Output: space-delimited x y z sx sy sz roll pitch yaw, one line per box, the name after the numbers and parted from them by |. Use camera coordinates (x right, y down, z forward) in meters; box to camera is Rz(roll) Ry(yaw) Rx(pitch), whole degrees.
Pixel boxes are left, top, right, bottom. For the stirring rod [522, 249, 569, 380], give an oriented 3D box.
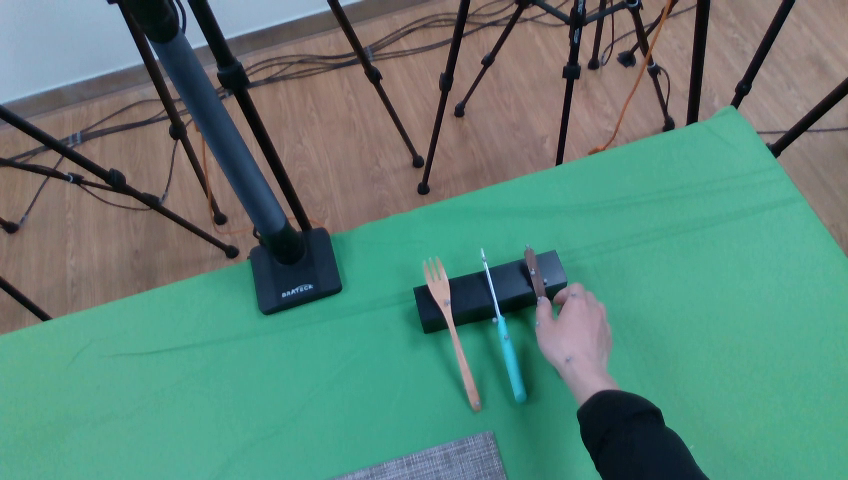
0.158 0.096 0.789 0.014 0.006 0.176 -16 87 5 | stirring rod

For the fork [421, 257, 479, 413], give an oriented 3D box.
0.035 0.122 0.785 0.028 0.019 0.206 -17 81 -6 | fork

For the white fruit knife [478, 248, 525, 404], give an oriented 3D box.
0.096 0.109 0.784 0.016 0.027 0.206 -13 77 -6 | white fruit knife
